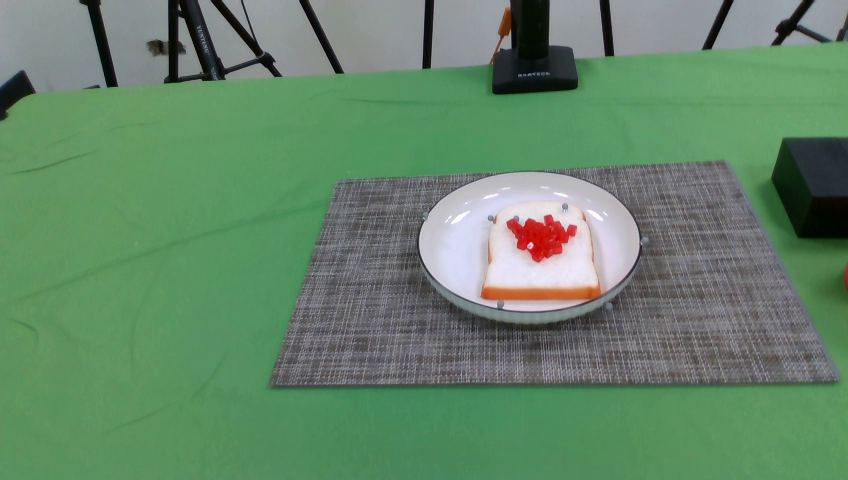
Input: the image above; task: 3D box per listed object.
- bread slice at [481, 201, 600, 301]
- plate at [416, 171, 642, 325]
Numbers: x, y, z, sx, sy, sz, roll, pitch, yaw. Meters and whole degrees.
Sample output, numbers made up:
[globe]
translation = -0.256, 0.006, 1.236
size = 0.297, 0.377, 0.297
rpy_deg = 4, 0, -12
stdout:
[bread slice]
translation = 0.109, 0.007, 0.582
size = 0.105, 0.019, 0.130
rpy_deg = 0, 42, 8
[plate]
translation = 0.097, 0.006, 0.581
size = 0.209, 0.038, 0.207
rpy_deg = -5, 40, 4
